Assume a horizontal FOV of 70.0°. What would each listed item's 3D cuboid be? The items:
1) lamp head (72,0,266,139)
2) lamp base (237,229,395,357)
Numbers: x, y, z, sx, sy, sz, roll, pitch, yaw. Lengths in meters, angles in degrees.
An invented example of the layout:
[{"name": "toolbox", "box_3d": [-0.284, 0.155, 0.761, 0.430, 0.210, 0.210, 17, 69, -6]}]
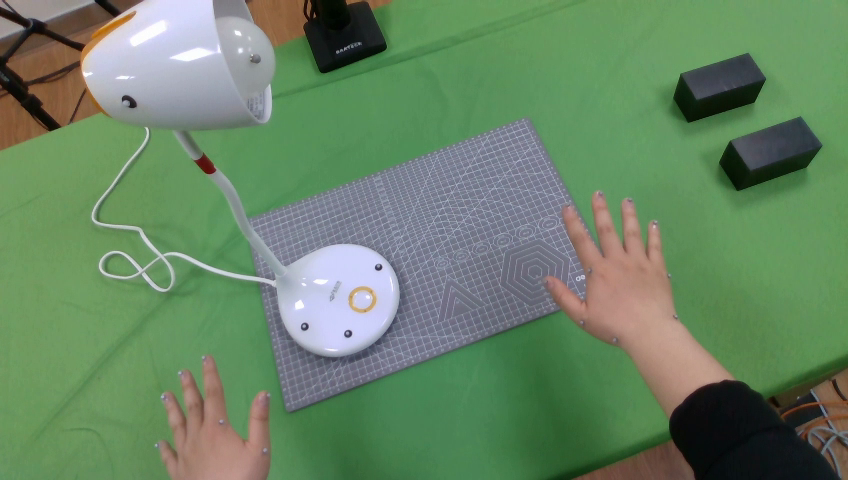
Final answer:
[{"name": "lamp head", "box_3d": [-0.194, -0.127, 0.463, 0.123, 0.113, 0.111, -15, 63, 7]}, {"name": "lamp base", "box_3d": [-0.141, 0.042, 0.739, 0.179, 0.182, 0.159, 2, 64, 14]}]
